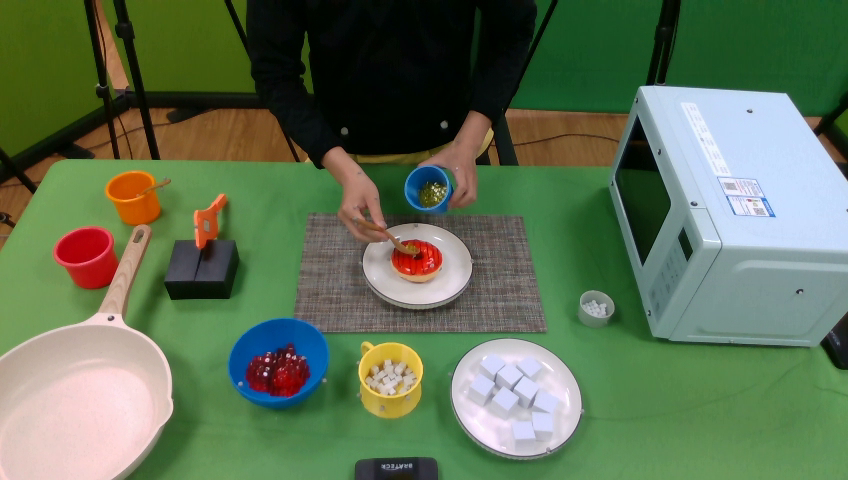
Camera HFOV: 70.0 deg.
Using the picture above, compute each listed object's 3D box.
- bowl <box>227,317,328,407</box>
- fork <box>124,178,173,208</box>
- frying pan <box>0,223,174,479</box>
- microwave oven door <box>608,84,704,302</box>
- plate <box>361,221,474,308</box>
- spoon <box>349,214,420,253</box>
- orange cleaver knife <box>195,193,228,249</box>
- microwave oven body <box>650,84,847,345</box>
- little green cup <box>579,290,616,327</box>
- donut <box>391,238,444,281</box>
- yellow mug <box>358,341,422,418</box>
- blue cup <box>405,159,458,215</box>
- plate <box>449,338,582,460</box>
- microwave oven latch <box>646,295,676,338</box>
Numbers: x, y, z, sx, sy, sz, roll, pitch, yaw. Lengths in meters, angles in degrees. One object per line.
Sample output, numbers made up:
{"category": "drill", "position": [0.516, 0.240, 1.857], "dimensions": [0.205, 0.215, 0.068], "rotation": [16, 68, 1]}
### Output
{"category": "bowl", "position": [-0.222, 0.203, 0.947], "dimensions": [0.151, 0.077, 0.150], "rotation": [2, 46, -2]}
{"category": "fork", "position": [-0.525, -0.089, 1.153], "dimensions": [0.207, 0.019, 0.028], "rotation": [-18, 27, 45]}
{"category": "frying pan", "position": [-0.505, 0.169, 0.941], "dimensions": [0.307, 0.103, 0.485], "rotation": [5, 54, -1]}
{"category": "microwave oven door", "position": [0.424, -0.096, 1.138], "dimensions": [0.039, 0.245, 0.353], "rotation": [2, 47, -1]}
{"category": "plate", "position": [-0.011, 0.049, 1.130], "dimensions": [0.209, 0.038, 0.208], "rotation": [2, 46, -2]}
{"category": "spoon", "position": [-0.066, -0.012, 1.039], "dimensions": [0.041, 0.195, 0.021], "rotation": [25, 84, 38]}
{"category": "orange cleaver knife", "position": [-0.406, -0.041, 1.163], "dimensions": [0.012, 0.077, 0.210], "rotation": [0, 18, -3]}
{"category": "microwave oven body", "position": [0.569, -0.054, 1.115], "dimensions": [0.326, 0.261, 0.439], "rotation": [2, 46, -1]}
{"category": "little green cup", "position": [0.308, 0.124, 1.086], "dimensions": [0.061, 0.039, 0.061], "rotation": [1, 45, -1]}
{"category": "donut", "position": [-0.012, 0.035, 1.128], "dimensions": [0.099, 0.048, 0.098], "rotation": [3, 43, -3]}
{"category": "yellow mug", "position": [-0.063, 0.210, 0.960], "dimensions": [0.100, 0.064, 0.130], "rotation": [-29, 54, -28]}
{"category": "blue cup", "position": [0.021, -0.088, 1.138], "dimensions": [0.092, 0.100, 0.092], "rotation": [-4, 78, 19]}
{"category": "plate", "position": [0.141, 0.251, 0.955], "dimensions": [0.208, 0.039, 0.206], "rotation": [2, 46, -2]}
{"category": "microwave oven latch", "position": [0.413, 0.133, 1.060], "dimensions": [0.030, 0.029, 0.078], "rotation": [4, 46, 1]}
